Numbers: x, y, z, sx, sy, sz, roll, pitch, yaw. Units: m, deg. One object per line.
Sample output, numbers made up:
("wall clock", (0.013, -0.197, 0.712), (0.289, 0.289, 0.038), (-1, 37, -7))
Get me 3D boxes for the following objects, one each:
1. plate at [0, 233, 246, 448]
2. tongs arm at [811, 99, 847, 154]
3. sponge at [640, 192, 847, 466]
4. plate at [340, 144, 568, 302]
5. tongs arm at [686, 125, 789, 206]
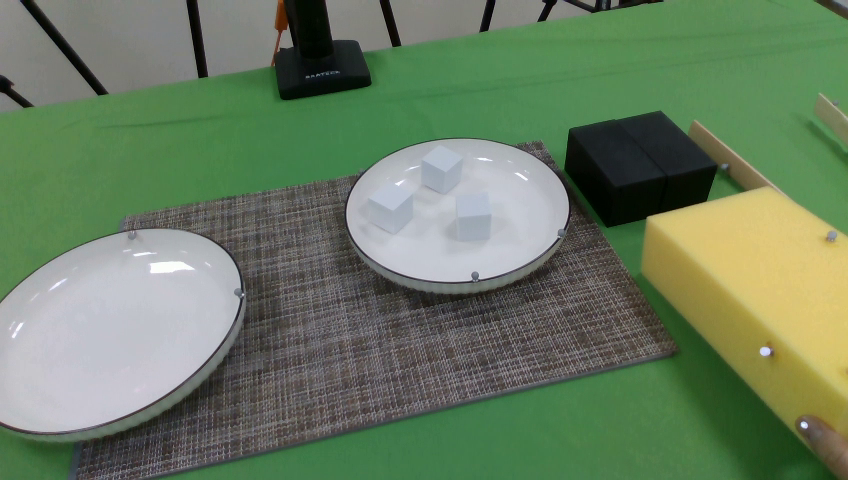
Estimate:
("plate", (-0.246, 0.077, 0.490), (0.209, 0.038, 0.207), (-2, 43, 2))
("tongs arm", (0.436, -0.013, 0.538), (0.051, 0.027, 0.380), (-8, 44, -2))
("sponge", (0.269, 0.049, 0.445), (0.118, 0.061, 0.204), (-15, 36, -10))
("plate", (0.028, -0.016, 0.568), (0.207, 0.039, 0.205), (-2, 43, 2))
("tongs arm", (0.357, 0.004, 0.532), (0.028, 0.028, 0.383), (-15, 44, -14))
